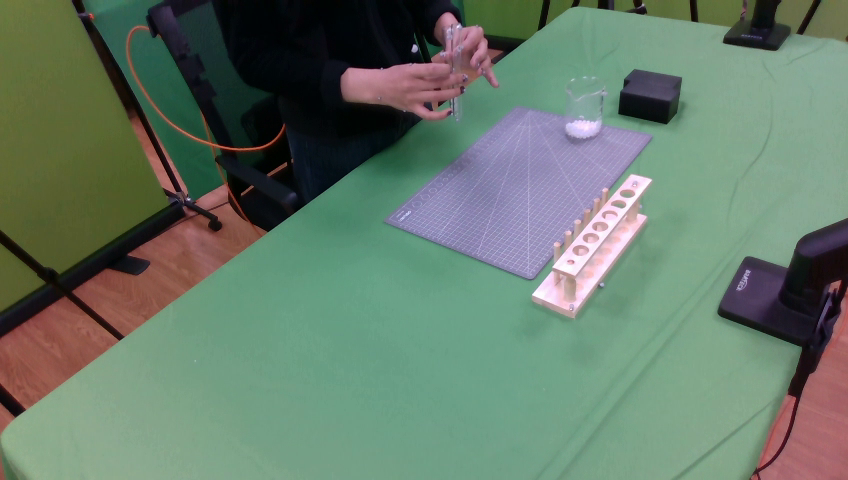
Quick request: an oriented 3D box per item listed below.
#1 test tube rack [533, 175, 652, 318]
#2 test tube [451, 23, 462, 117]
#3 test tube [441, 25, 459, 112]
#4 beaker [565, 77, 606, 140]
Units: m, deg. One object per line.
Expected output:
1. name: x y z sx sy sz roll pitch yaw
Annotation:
1. test tube rack: 0.250 -0.001 0.889 0.066 0.085 0.243 22 49 33
2. test tube: 0.054 -0.271 0.975 0.017 0.150 0.017 -2 31 2
3. test tube: 0.044 -0.285 1.017 0.017 0.151 0.017 -6 38 5
4. beaker: 0.304 -0.247 1.153 0.073 0.101 0.084 15 47 27
